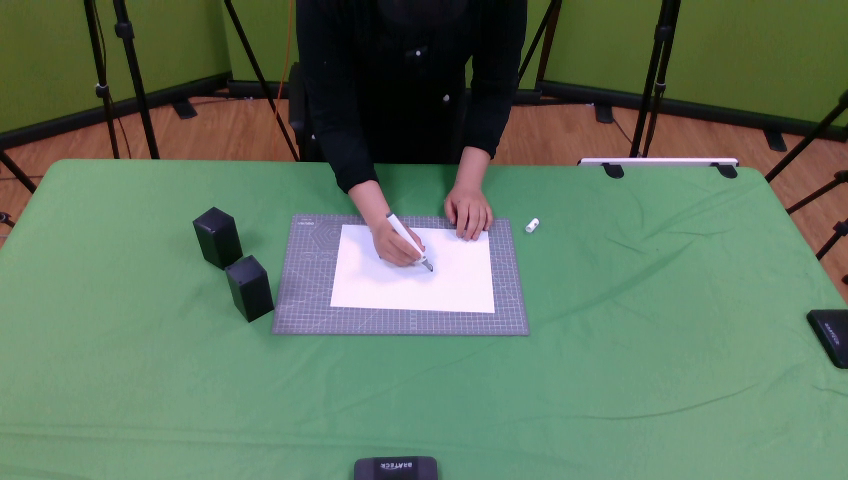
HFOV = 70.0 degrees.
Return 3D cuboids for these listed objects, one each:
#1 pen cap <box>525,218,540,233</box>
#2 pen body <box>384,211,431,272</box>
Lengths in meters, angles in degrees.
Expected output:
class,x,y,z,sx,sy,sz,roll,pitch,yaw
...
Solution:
class,x,y,z,sx,sy,sz,roll,pitch,yaw
pen cap,0.224,-0.031,1.248,0.017,0.017,0.038,30,51,23
pen body,-0.027,0.006,1.125,0.017,0.144,0.017,-32,20,13
